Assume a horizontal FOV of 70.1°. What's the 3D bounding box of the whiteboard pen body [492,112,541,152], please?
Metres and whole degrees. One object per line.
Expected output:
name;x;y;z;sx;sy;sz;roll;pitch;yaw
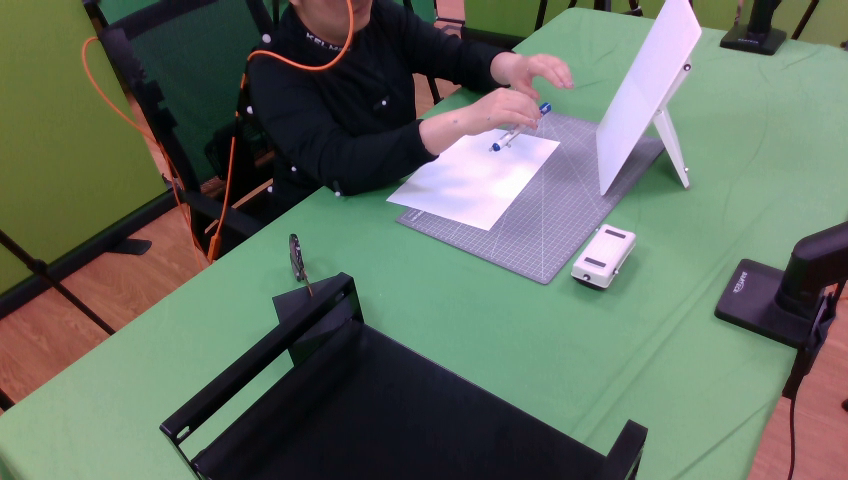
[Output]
whiteboard pen body;0.163;-0.188;1.019;0.017;0.017;0.141;28;54;35

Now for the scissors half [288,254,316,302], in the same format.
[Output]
scissors half;-0.178;0.058;0.894;0.013;0.040;0.174;-16;20;-18

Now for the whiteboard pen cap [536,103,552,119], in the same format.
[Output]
whiteboard pen cap;0.205;-0.221;1.044;0.018;0.018;0.033;28;58;35

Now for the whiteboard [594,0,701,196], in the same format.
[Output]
whiteboard;0.420;-0.227;1.010;0.144;0.305;0.216;18;42;-2

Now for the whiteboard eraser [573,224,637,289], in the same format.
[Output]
whiteboard eraser;0.267;0.025;0.890;0.055;0.042;0.113;19;47;31

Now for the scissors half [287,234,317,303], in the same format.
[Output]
scissors half;-0.179;0.040;0.885;0.013;0.040;0.173;-11;36;-20
